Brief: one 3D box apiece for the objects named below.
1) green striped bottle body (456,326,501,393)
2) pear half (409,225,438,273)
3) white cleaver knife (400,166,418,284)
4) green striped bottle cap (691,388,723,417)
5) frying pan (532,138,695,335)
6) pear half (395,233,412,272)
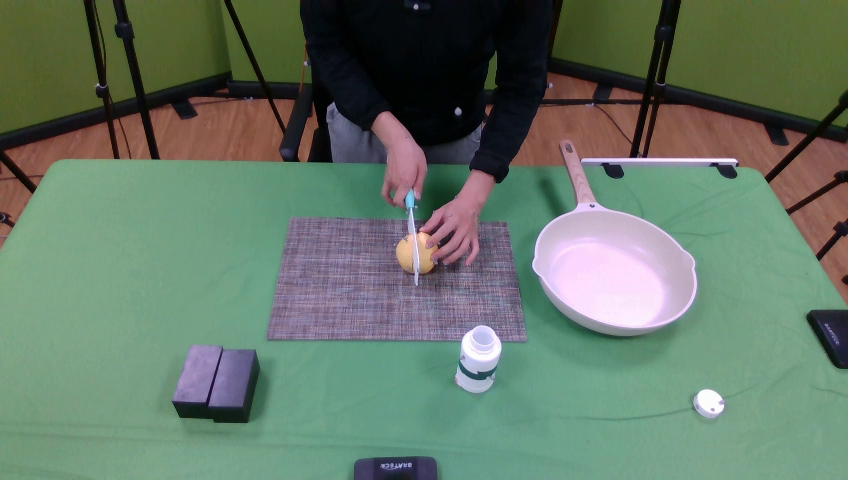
[{"bbox_3d":[0.086,0.185,0.959,0.063,0.120,0.063,2,46,-2],"label":"green striped bottle body"},{"bbox_3d":[-0.001,0.011,1.121,0.056,0.110,0.076,-6,50,-11],"label":"pear half"},{"bbox_3d":[-0.030,-0.036,1.133,0.021,0.066,0.284,2,45,-9],"label":"white cleaver knife"},{"bbox_3d":[0.460,0.263,0.984,0.044,0.020,0.044,3,46,-3],"label":"green striped bottle cap"},{"bbox_3d":[0.336,-0.024,1.190,0.307,0.103,0.484,-2,55,-7],"label":"frying pan"},{"bbox_3d":[-0.038,0.021,1.124,0.031,0.088,0.070,-7,49,-8],"label":"pear half"}]
